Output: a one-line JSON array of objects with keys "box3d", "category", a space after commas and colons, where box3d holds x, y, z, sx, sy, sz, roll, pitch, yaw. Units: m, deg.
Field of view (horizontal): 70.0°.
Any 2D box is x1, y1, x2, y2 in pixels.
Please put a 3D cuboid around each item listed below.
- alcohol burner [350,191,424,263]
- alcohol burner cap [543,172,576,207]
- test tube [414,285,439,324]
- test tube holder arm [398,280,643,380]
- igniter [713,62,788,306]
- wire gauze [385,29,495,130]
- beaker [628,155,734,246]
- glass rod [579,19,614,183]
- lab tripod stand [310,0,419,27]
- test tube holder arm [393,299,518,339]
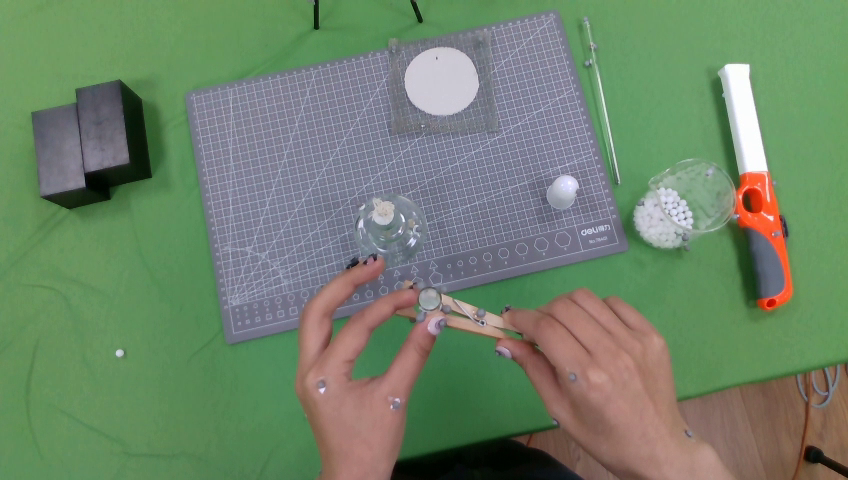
[{"box3d": [-0.040, -0.017, 0.619, 0.078, 0.119, 0.077, -1, 78, 3], "category": "alcohol burner"}, {"box3d": [0.149, -0.058, 0.658, 0.034, 0.048, 0.033, 0, 79, 2], "category": "alcohol burner cap"}, {"box3d": [0.002, 0.049, 0.438, 0.017, 0.151, 0.017, 0, 79, 0], "category": "test tube"}, {"box3d": [0.066, 0.062, 0.418, 0.178, 0.015, 0.013, 19, 85, -1], "category": "test tube holder arm"}, {"box3d": [0.358, -0.066, 0.666, 0.057, 0.025, 0.275, -3, 79, -9], "category": "igniter"}, {"box3d": [0.017, -0.185, 0.704, 0.125, 0.011, 0.121, -2, 80, 0], "category": "wire gauze"}, {"box3d": [0.256, -0.036, 0.626, 0.084, 0.100, 0.074, 18, 79, 6], "category": "beaker"}, {"box3d": [0.199, -0.162, 0.697, 0.008, 0.008, 0.199, -8, 81, 0], "category": "glass rod"}, {"box3d": [-0.075, -0.306, 0.668, 0.148, 0.132, 0.148, 0, 81, 1], "category": "lab tripod stand"}, {"box3d": [0.022, 0.055, 0.417, 0.088, 0.015, 0.010, 13, 84, -2], "category": "test tube holder arm"}]
